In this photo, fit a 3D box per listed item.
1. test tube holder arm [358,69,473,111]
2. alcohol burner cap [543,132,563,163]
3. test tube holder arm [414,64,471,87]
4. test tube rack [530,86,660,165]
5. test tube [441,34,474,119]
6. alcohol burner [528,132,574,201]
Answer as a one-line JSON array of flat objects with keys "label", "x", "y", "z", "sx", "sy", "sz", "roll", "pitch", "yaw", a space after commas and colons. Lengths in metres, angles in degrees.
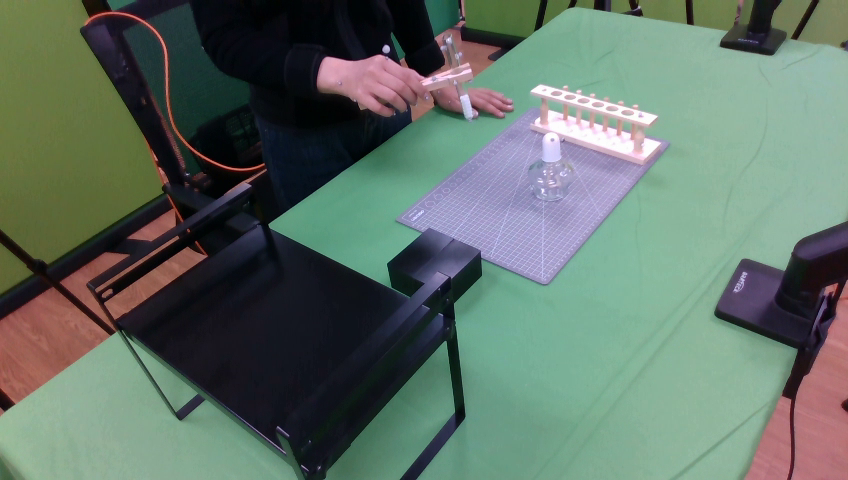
[{"label": "test tube holder arm", "x": -0.014, "y": -0.225, "z": 0.909, "sx": 0.178, "sy": 0.015, "sz": 0.013, "roll": -15, "pitch": 45, "yaw": 9}, {"label": "alcohol burner cap", "x": 0.211, "y": -0.154, "z": 0.994, "sx": 0.034, "sy": 0.048, "sz": 0.033, "roll": -7, "pitch": 35, "yaw": 6}, {"label": "test tube holder arm", "x": 0.028, "y": -0.242, "z": 0.908, "sx": 0.088, "sy": 0.015, "sz": 0.010, "roll": -20, "pitch": 45, "yaw": 3}, {"label": "test tube rack", "x": 0.320, "y": -0.226, "z": 1.140, "sx": 0.240, "sy": 0.085, "sz": 0.067, "roll": 27, "pitch": 51, "yaw": 34}, {"label": "test tube", "x": 0.053, "y": -0.241, "z": 0.908, "sx": 0.017, "sy": 0.151, "sz": 0.017, "roll": -10, "pitch": 49, "yaw": 13}, {"label": "alcohol burner", "x": 0.214, "y": -0.126, "z": 1.016, "sx": 0.078, "sy": 0.119, "sz": 0.077, "roll": -5, "pitch": 38, "yaw": 5}]
